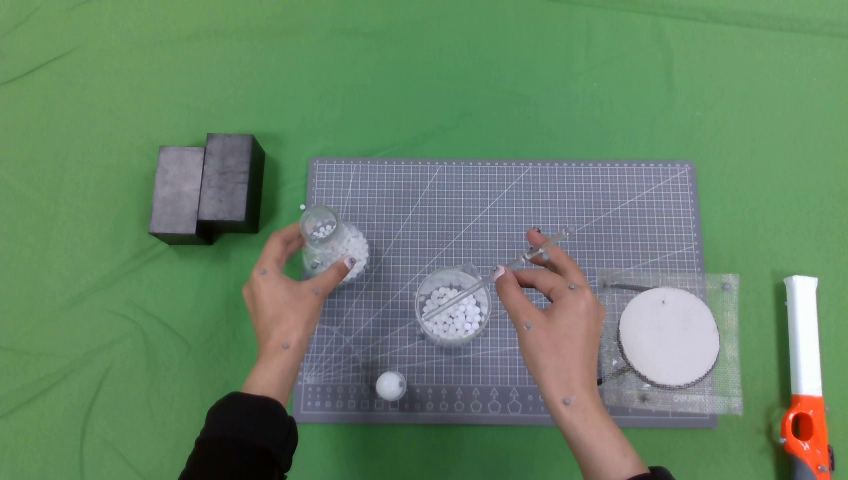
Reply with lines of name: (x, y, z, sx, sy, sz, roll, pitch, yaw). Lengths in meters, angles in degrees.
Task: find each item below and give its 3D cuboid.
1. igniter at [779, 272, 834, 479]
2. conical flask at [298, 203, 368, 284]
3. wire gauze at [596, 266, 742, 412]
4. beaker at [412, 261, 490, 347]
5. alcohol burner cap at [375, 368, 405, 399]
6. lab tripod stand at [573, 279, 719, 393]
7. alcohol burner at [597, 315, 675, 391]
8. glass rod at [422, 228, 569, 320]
igniter: (0.398, 0.171, 0.635, 0.057, 0.025, 0.275, 7, 77, -9)
conical flask: (-0.098, -0.002, 0.614, 0.075, 0.122, 0.075, 0, 75, -1)
wire gauze: (0.214, 0.084, 0.529, 0.125, 0.011, 0.121, 3, 78, 2)
beaker: (0.028, 0.069, 0.621, 0.074, 0.100, 0.083, 23, 77, 6)
alcohol burner cap: (-0.037, 0.150, 0.632, 0.034, 0.048, 0.033, 0, 77, 0)
lab tripod stand: (0.214, 0.102, 0.595, 0.148, 0.132, 0.147, 0, 78, 1)
alcohol burner: (0.215, 0.111, 0.603, 0.078, 0.119, 0.077, -1, 77, 3)
glass rod: (0.055, 0.035, 0.532, 0.008, 0.200, 0.008, 19, 54, -28)
